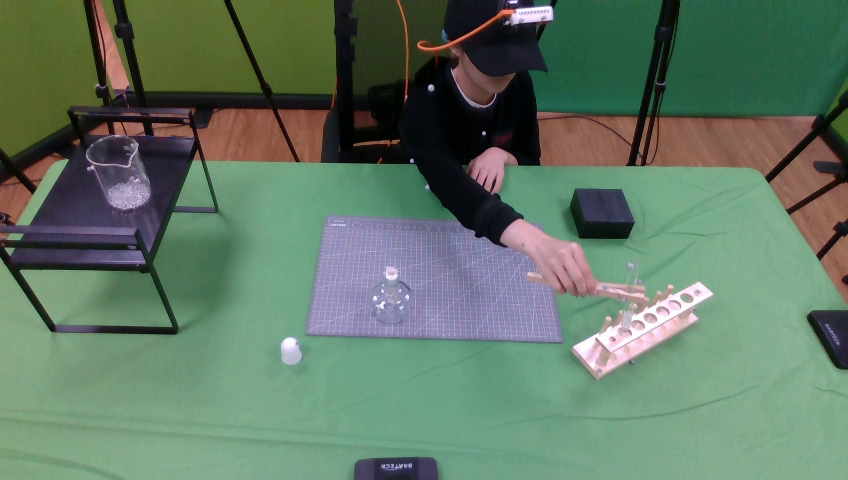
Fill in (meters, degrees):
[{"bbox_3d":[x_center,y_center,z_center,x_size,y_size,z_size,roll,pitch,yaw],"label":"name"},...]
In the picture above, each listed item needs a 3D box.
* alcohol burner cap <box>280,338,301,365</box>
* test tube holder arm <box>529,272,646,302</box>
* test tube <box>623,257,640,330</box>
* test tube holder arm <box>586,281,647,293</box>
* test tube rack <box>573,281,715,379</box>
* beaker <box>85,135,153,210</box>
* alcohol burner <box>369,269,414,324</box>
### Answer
[{"bbox_3d":[-0.220,0.179,0.993,0.034,0.048,0.033,2,46,-2],"label":"alcohol burner cap"},{"bbox_3d":[0.248,0.072,0.934,0.178,0.015,0.013,9,42,22],"label":"test tube holder arm"},{"bbox_3d":[0.313,0.084,0.916,0.017,0.151,0.017,-6,40,6],"label":"test tube"},{"bbox_3d":[0.292,0.073,0.922,0.087,0.015,0.010,4,41,16],"label":"test tube holder arm"},{"bbox_3d":[0.378,0.140,1.038,0.242,0.085,0.066,-22,51,-23],"label":"test tube rack"},{"bbox_3d":[-0.475,-0.102,0.957,0.083,0.101,0.074,34,53,26],"label":"beaker"},{"bbox_3d":[-0.056,0.089,1.037,0.078,0.120,0.077,1,47,-1],"label":"alcohol burner"}]
